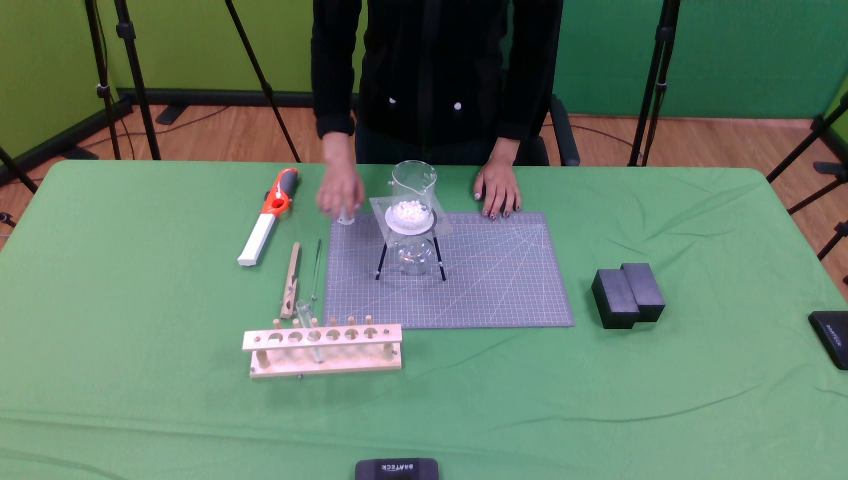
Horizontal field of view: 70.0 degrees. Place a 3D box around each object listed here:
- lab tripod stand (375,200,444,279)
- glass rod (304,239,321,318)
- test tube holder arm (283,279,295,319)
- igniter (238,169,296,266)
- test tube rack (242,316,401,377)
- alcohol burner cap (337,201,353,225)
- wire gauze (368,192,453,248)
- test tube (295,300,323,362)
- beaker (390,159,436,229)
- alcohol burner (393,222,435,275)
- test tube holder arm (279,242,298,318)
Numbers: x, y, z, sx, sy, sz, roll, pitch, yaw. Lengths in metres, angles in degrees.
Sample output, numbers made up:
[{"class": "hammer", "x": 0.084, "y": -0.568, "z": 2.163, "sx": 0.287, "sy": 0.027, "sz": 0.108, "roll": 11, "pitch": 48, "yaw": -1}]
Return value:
[{"class": "lab tripod stand", "x": -0.023, "y": 0.004, "z": 1.114, "sx": 0.148, "sy": 0.132, "sz": 0.147, "roll": 4, "pitch": 45, "yaw": -3}, {"class": "glass rod", "x": -0.207, "y": 0.068, "z": 1.127, "sx": 0.008, "sy": 0.008, "sz": 0.198, "roll": 2, "pitch": 43, "yaw": -2}, {"class": "test tube holder arm", "x": -0.241, "y": 0.103, "z": 1.085, "sx": 0.010, "sy": 0.015, "sz": 0.087, "roll": 25, "pitch": 38, "yaw": -26}, {"class": "igniter", "x": -0.313, "y": -0.055, "z": 1.224, "sx": 0.057, "sy": 0.025, "sz": 0.275, "roll": 1, "pitch": 45, "yaw": 10}, {"class": "test tube rack", "x": -0.161, "y": 0.166, "z": 0.983, "sx": 0.242, "sy": 0.085, "sz": 0.066, "roll": -2, "pitch": 46, "yaw": -6}, {"class": "alcohol burner cap", "x": -0.161, "y": -0.056, "z": 1.223, "sx": 0.034, "sy": 0.048, "sz": 0.033, "roll": 2, "pitch": 46, "yaw": -2}, {"class": "wire gauze", "x": -0.025, "y": -0.041, "z": 1.065, "sx": 0.122, "sy": 0.011, "sz": 0.124, "roll": -10, "pitch": 46, "yaw": -18}, {"class": "test tube", "x": -0.176, "y": 0.143, "z": 0.935, "sx": 0.017, "sy": 0.151, "sz": 0.017, "roll": -2, "pitch": 46, "yaw": 2}, {"class": "beaker", "x": -0.020, "y": -0.073, "z": 1.029, "sx": 0.074, "sy": 0.101, "sz": 0.083, "roll": -10, "pitch": 48, "yaw": -16}, {"class": "alcohol burner", "x": -0.018, "y": 0.009, "z": 1.122, "sx": 0.078, "sy": 0.119, "sz": 0.077, "roll": 3, "pitch": 47, "yaw": -3}, {"class": "test tube holder arm", "x": -0.248, "y": 0.069, "z": 1.114, "sx": 0.013, "sy": 0.015, "sz": 0.177, "roll": 25, "pitch": 38, "yaw": -26}]
